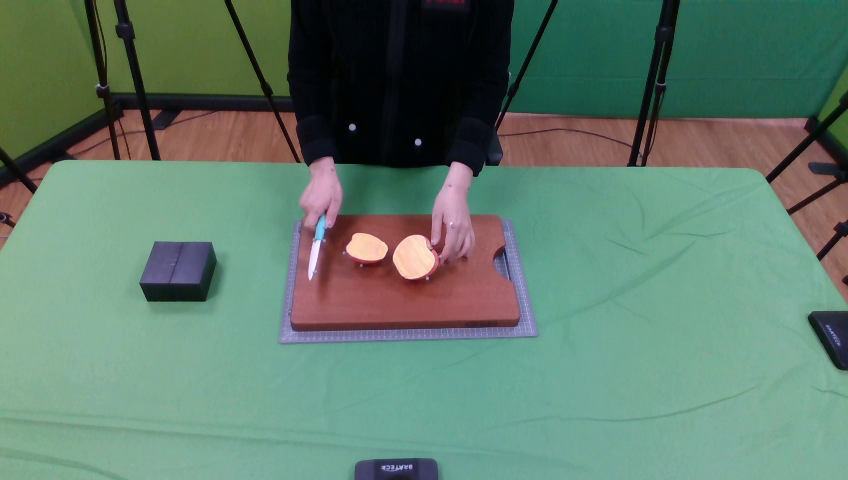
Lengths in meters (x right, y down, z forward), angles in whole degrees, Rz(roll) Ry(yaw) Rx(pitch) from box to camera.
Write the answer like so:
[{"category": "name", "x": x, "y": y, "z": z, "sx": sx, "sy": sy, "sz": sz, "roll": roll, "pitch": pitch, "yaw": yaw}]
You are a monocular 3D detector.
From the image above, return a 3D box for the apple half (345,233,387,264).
[{"category": "apple half", "x": -0.109, "y": 0.024, "z": 1.120, "sx": 0.081, "sy": 0.033, "sz": 0.081, "roll": 13, "pitch": 36, "yaw": -10}]

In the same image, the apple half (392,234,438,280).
[{"category": "apple half", "x": -0.013, "y": 0.034, "z": 1.096, "sx": 0.074, "sy": 0.053, "sz": 0.080, "roll": -36, "pitch": 72, "yaw": 9}]

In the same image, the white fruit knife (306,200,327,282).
[{"category": "white fruit knife", "x": -0.197, "y": -0.002, "z": 1.110, "sx": 0.027, "sy": 0.016, "sz": 0.206, "roll": -31, "pitch": 38, "yaw": 28}]
